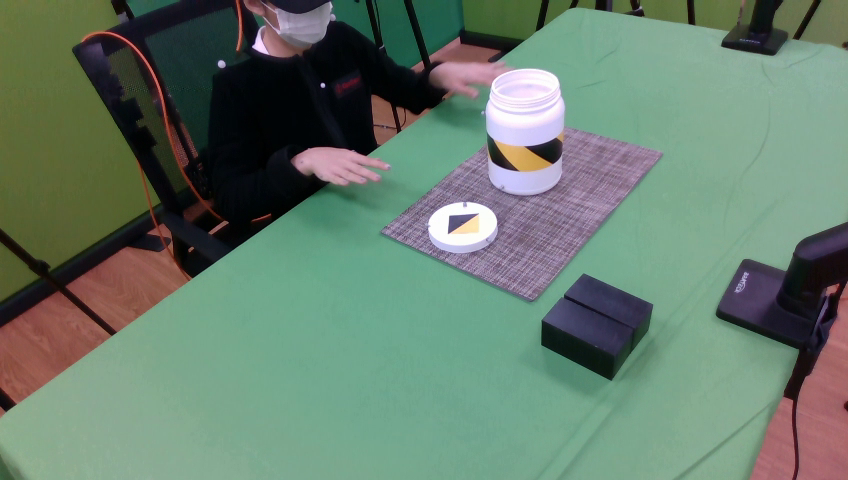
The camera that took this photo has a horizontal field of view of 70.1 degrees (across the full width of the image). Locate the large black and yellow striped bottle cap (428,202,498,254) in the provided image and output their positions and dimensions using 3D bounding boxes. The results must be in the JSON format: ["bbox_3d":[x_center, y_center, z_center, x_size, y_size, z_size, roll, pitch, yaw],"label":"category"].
[{"bbox_3d":[0.064,-0.022,0.990,0.115,0.019,0.114,-4,42,4],"label":"large black and yellow striped bottle cap"}]

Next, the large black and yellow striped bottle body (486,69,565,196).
[{"bbox_3d":[0.173,-0.183,1.033,0.131,0.185,0.130,-5,41,5],"label":"large black and yellow striped bottle body"}]
